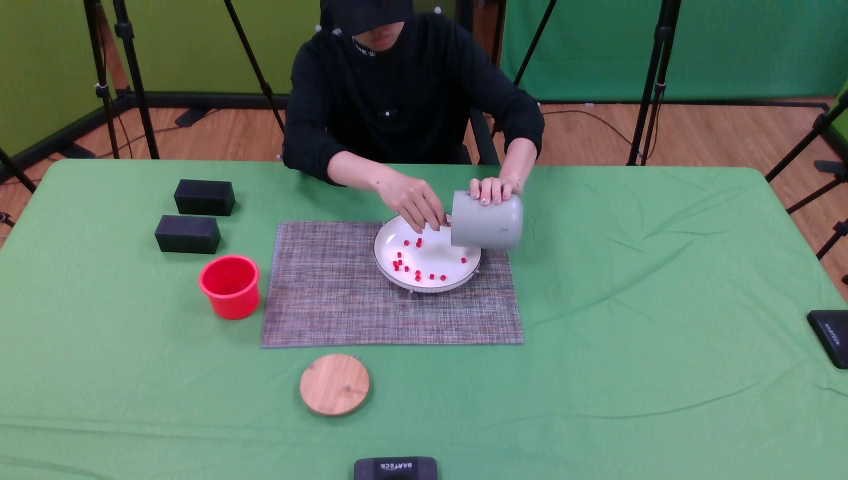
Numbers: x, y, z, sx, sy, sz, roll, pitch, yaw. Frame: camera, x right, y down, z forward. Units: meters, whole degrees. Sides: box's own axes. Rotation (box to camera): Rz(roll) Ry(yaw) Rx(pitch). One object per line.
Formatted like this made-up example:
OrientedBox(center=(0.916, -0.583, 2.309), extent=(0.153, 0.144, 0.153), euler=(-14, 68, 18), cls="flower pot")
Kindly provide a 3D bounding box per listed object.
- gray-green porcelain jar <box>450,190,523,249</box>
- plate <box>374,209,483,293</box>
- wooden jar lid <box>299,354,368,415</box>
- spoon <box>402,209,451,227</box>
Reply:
OrientedBox(center=(0.116, -0.037, 1.109), extent=(0.126, 0.106, 0.105), euler=(3, 46, 7), cls="gray-green porcelain jar")
OrientedBox(center=(0.008, 0.023, 1.158), extent=(0.208, 0.039, 0.206), euler=(2, 46, -2), cls="plate")
OrientedBox(center=(-0.143, 0.232, 0.964), extent=(0.108, 0.021, 0.107), euler=(2, 45, -2), cls="wooden jar lid")
OrientedBox(center=(0.053, -0.029, 1.098), extent=(0.194, 0.022, 0.041), euler=(10, 17, 0), cls="spoon")
